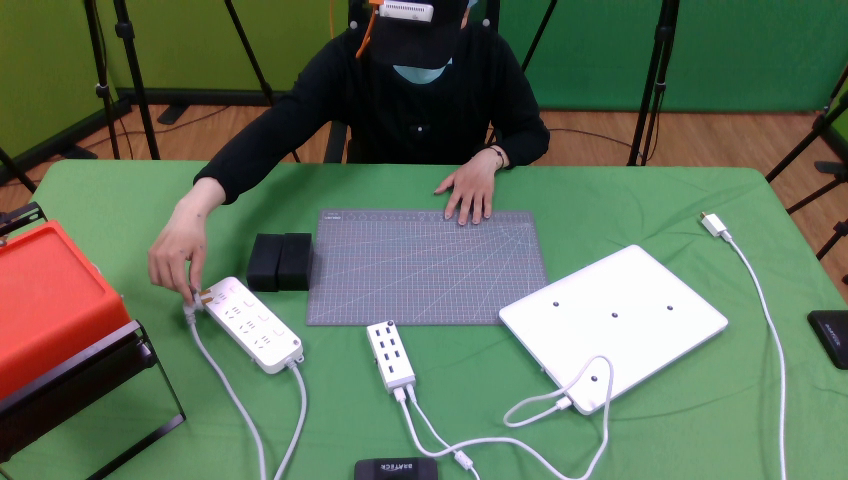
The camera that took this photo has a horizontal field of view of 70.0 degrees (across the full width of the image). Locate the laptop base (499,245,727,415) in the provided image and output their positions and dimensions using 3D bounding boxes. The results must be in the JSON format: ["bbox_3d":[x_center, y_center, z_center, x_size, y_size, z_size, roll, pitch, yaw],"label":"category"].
[{"bbox_3d":[0.339,0.146,1.088,0.354,0.023,0.234,-23,49,-24],"label":"laptop base"}]

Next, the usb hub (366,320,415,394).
[{"bbox_3d":[-0.056,0.192,1.009,0.049,0.025,0.124,-12,49,-16],"label":"usb hub"}]

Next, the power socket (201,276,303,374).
[{"bbox_3d":[-0.296,0.141,1.034,0.225,0.033,0.072,37,55,27],"label":"power socket"}]

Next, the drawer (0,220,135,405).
[{"bbox_3d":[-0.522,0.093,0.782,0.211,0.073,0.193,-35,58,-30],"label":"drawer"}]

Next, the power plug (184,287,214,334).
[{"bbox_3d":[-0.379,0.117,1.036,0.053,0.072,0.035,-21,8,-24],"label":"power plug"}]

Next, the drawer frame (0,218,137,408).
[{"bbox_3d":[-0.523,0.094,0.779,0.200,0.083,0.213,37,55,26],"label":"drawer frame"}]

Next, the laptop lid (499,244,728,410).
[{"bbox_3d":[0.338,0.136,1.080,0.357,0.013,0.240,-21,50,-23],"label":"laptop lid"}]

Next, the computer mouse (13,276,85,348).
[{"bbox_3d":[-0.497,0.090,0.804,0.063,0.041,0.116,-7,42,-7],"label":"computer mouse"}]

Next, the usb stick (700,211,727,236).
[{"bbox_3d":[0.605,-0.038,1.273,0.027,0.021,0.059,-18,56,-20],"label":"usb stick"}]
